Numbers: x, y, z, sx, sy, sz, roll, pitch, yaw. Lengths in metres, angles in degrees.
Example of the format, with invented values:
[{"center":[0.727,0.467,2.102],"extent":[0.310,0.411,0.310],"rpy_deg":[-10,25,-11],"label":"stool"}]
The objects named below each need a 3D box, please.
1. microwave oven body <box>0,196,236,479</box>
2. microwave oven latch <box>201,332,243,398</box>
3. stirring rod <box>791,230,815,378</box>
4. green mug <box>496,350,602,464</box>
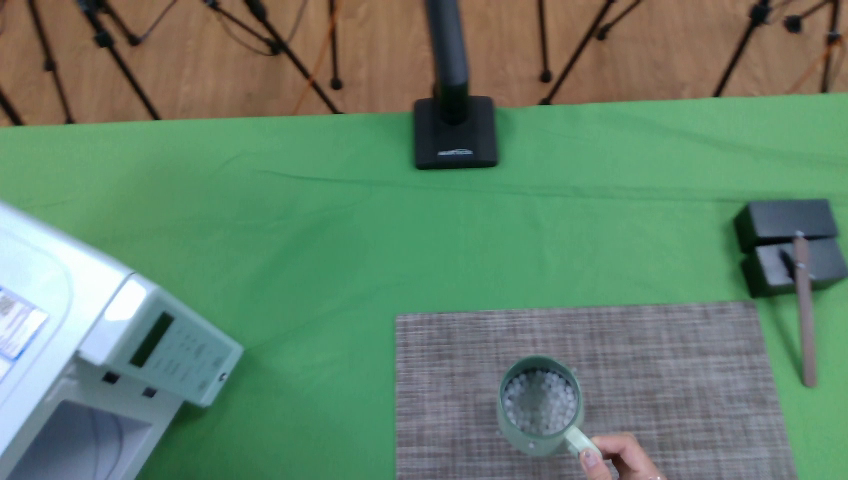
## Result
[{"center":[-0.465,0.197,0.607],"extent":[0.325,0.262,0.440],"rpy_deg":[24,71,12],"label":"microwave oven body"},{"center":[-0.248,0.146,0.723],"extent":[0.030,0.030,0.079],"rpy_deg":[26,72,12],"label":"microwave oven latch"},{"center":[0.447,0.076,0.713],"extent":[0.014,0.006,0.176],"rpy_deg":[-5,91,12],"label":"stirring rod"},{"center":[0.129,0.174,0.614],"extent":[0.092,0.106,0.124],"rpy_deg":[-42,66,-10],"label":"green mug"}]
